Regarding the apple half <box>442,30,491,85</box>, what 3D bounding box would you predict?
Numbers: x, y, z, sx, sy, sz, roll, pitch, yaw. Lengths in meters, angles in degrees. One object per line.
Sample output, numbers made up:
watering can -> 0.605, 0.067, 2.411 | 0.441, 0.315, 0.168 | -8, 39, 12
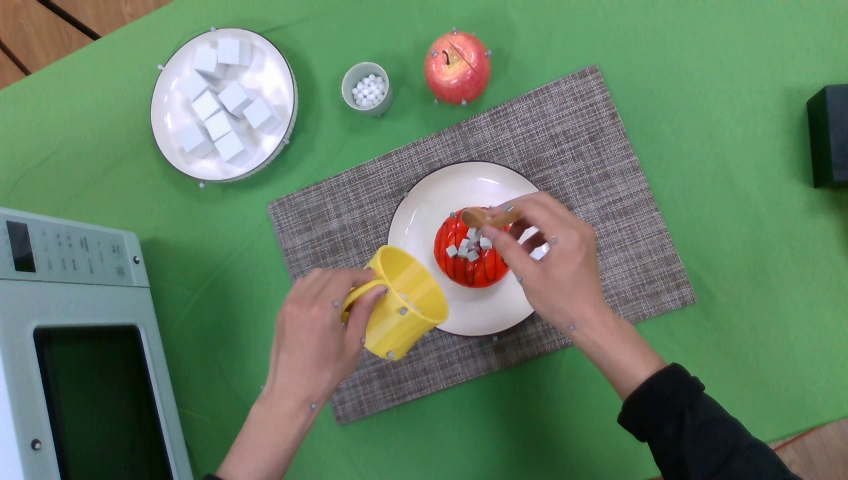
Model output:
apple half -> 0.058, -0.223, 0.724 | 0.033, 0.081, 0.081 | -42, 77, 9

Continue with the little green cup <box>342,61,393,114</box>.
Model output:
little green cup -> -0.069, -0.190, 0.767 | 0.061, 0.039, 0.061 | -1, 84, 12

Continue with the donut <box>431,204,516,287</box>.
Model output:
donut -> 0.057, 0.006, 0.706 | 0.099, 0.048, 0.099 | -1, 86, 13

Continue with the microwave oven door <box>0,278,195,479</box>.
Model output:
microwave oven door -> -0.352, 0.218, 0.665 | 0.039, 0.245, 0.354 | -18, 81, 10

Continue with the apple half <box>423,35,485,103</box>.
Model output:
apple half -> 0.030, -0.197, 0.729 | 0.053, 0.075, 0.080 | -42, 81, 10

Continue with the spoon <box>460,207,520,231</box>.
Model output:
spoon -> 0.063, -0.019, 0.562 | 0.042, 0.193, 0.021 | 30, 90, -5

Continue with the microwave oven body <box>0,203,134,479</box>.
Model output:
microwave oven body -> -0.500, 0.223, 0.702 | 0.326, 0.261, 0.440 | -18, 82, 9

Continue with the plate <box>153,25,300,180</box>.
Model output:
plate -> -0.259, -0.180, 0.806 | 0.207, 0.039, 0.207 | -1, 84, 12

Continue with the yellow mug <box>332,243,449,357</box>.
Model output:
yellow mug -> -0.040, 0.060, 0.602 | 0.064, 0.132, 0.099 | -42, 66, 21

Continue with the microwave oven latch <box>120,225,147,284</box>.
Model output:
microwave oven latch -> -0.390, 0.021, 0.797 | 0.030, 0.029, 0.079 | -17, 82, 10

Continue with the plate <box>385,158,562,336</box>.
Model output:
plate -> 0.058, 0.009, 0.717 | 0.208, 0.038, 0.208 | -1, 84, 12
